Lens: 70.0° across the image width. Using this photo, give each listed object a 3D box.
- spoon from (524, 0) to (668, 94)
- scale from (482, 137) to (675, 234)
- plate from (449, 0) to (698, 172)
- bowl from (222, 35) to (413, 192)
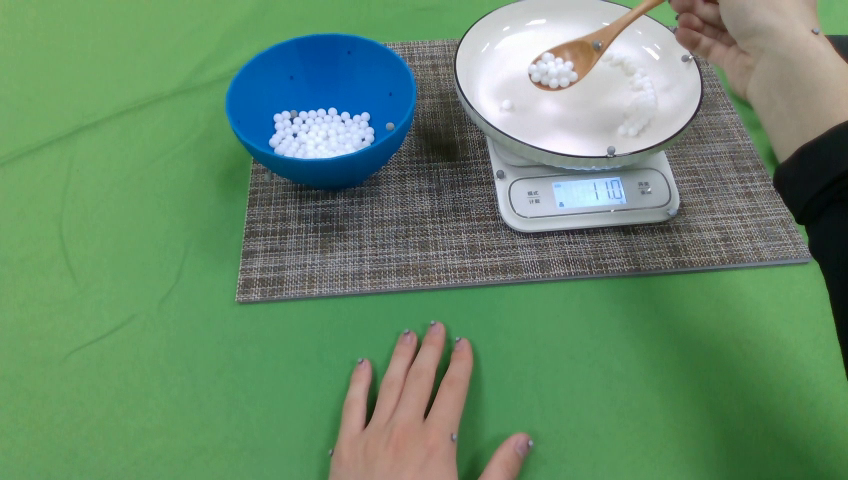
[{"bbox_3d":[0.165,-0.173,0.466,0.193,0.022,0.041,-32,63,19],"label":"spoon"},{"bbox_3d":[0.126,-0.096,0.538,0.149,0.032,0.199,-4,55,-2],"label":"scale"},{"bbox_3d":[0.125,-0.133,0.524,0.209,0.038,0.207,0,55,0],"label":"plate"},{"bbox_3d":[-0.083,-0.093,0.509,0.151,0.077,0.150,0,55,1],"label":"bowl"}]
